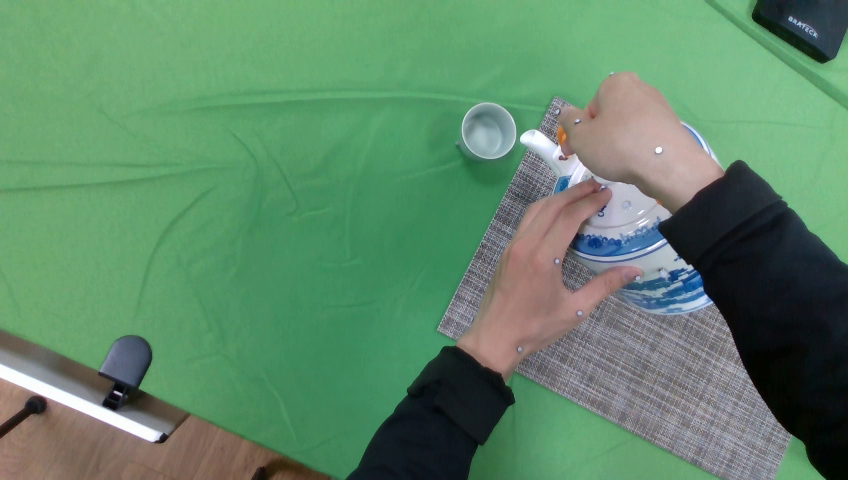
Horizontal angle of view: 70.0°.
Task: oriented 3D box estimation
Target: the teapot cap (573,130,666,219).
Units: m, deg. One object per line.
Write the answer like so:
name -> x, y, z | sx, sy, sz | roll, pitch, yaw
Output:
teapot cap -> 0.160, -0.058, 0.509 | 0.044, 0.084, 0.085 | 35, 81, -38

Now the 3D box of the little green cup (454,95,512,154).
little green cup -> 0.061, -0.123, 0.663 | 0.062, 0.038, 0.061 | 1, 86, -11

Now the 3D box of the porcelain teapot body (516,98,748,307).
porcelain teapot body -> 0.168, -0.051, 0.558 | 0.228, 0.203, 0.145 | 34, 92, -40
